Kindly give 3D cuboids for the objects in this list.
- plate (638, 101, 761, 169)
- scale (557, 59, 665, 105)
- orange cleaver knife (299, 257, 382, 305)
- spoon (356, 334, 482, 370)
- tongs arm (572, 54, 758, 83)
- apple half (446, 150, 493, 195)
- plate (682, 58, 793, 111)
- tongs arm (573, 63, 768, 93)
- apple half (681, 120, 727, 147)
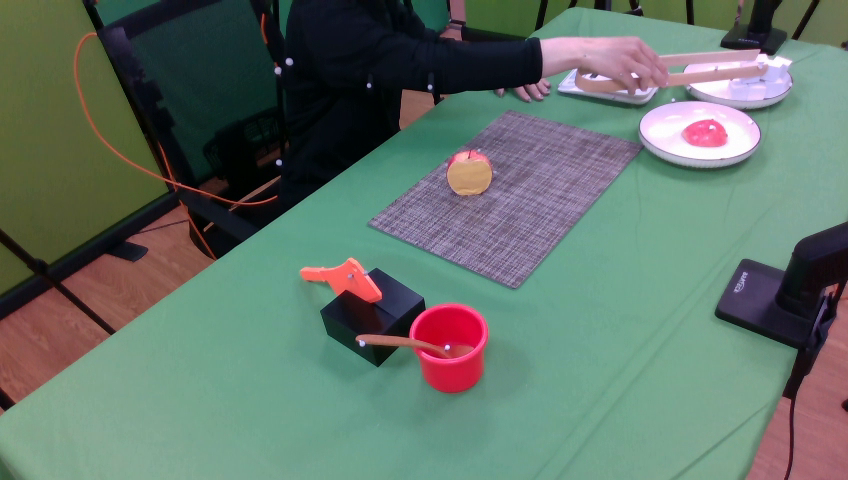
[{"bbox_3d":[0.500,-0.189,1.111,0.209,0.038,0.208,-4,41,4],"label":"plate"},{"bbox_3d":[0.407,-0.348,1.314,0.199,0.032,0.149,19,47,28],"label":"scale"},{"bbox_3d":[-0.124,0.062,0.872,0.012,0.077,0.210,-38,17,-30],"label":"orange cleaver knife"},{"bbox_3d":[-0.001,0.130,0.731,0.195,0.021,0.041,22,28,-39],"label":"spoon"},{"bbox_3d":[0.468,-0.335,1.168,0.389,0.028,0.028,-7,54,-9],"label":"tongs arm"},{"bbox_3d":[0.081,-0.123,1.065,0.081,0.075,0.053,-7,37,7],"label":"apple half"},{"bbox_3d":[0.636,-0.317,1.239,0.207,0.039,0.206,-4,40,4],"label":"plate"},{"bbox_3d":[0.473,-0.316,1.152,0.386,0.026,0.050,-10,51,-11],"label":"tongs arm"},{"bbox_3d":[0.518,-0.202,1.115,0.081,0.033,0.081,-1,40,2],"label":"apple half"}]
